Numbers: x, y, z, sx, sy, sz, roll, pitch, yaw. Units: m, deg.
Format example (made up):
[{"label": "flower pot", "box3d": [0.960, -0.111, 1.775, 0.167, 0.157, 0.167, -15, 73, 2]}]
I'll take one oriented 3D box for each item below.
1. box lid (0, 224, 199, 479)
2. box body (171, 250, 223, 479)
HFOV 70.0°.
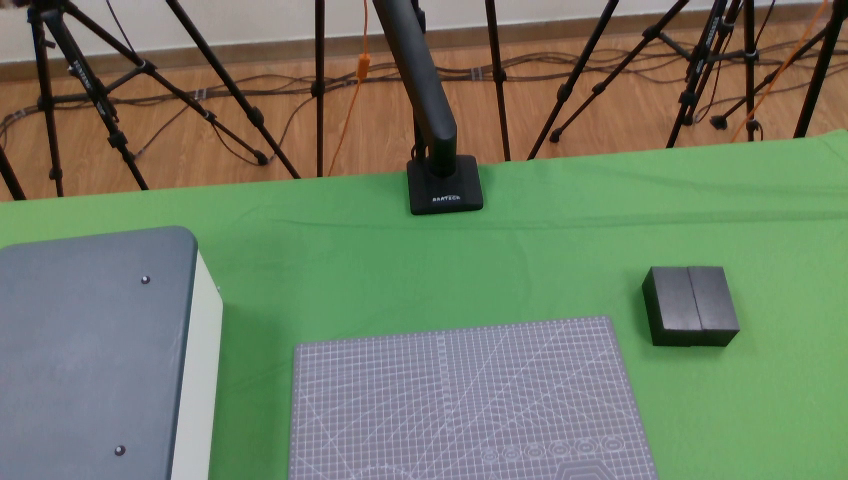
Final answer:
[{"label": "box lid", "box3d": [-0.396, 0.140, 0.672, 0.263, 0.015, 0.367, -6, 56, -3]}, {"label": "box body", "box3d": [-0.395, 0.185, 0.731, 0.254, 0.162, 0.360, -6, 55, -3]}]
